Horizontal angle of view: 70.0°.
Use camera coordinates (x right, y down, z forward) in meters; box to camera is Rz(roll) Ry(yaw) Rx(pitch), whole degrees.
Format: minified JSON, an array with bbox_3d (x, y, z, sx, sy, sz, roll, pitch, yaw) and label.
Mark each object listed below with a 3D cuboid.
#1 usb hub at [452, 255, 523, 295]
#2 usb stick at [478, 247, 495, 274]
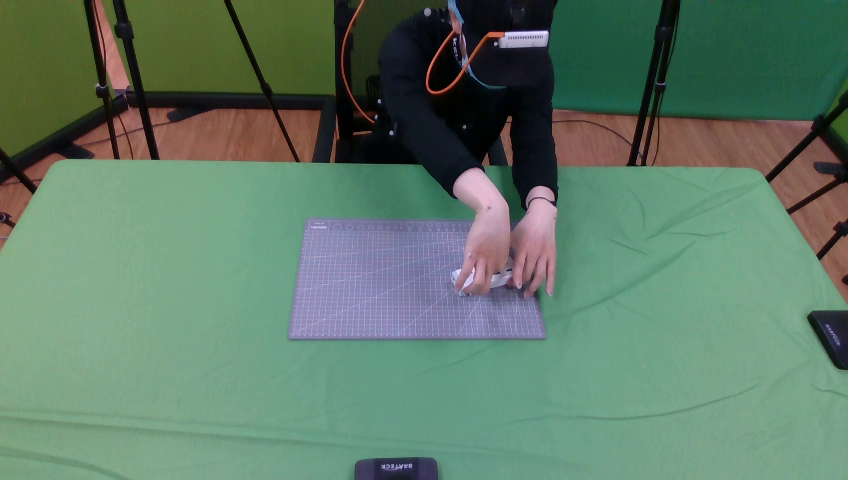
[{"bbox_3d":[0.119,0.065,1.132,0.125,0.025,0.049,-14,49,-15],"label":"usb hub"},{"bbox_3d":[0.114,0.043,1.105,0.021,0.059,0.027,-15,51,-15],"label":"usb stick"}]
